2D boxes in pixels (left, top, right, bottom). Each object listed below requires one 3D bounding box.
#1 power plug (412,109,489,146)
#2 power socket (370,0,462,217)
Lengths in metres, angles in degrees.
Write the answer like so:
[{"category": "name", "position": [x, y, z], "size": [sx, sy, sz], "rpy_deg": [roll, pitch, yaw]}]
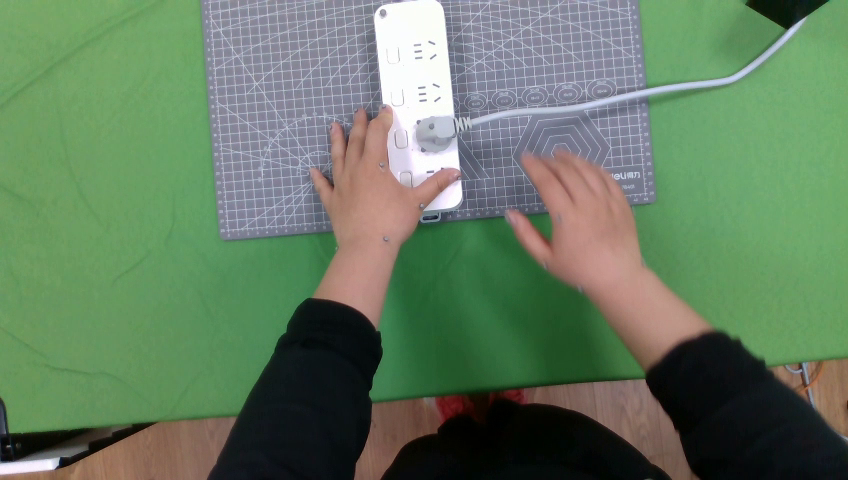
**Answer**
[{"category": "power plug", "position": [0.024, -0.108, 0.589], "size": [0.072, 0.052, 0.035], "rpy_deg": [4, 91, 0]}, {"category": "power socket", "position": [-0.008, -0.137, 0.608], "size": [0.072, 0.032, 0.226], "rpy_deg": [-6, 89, 2]}]
